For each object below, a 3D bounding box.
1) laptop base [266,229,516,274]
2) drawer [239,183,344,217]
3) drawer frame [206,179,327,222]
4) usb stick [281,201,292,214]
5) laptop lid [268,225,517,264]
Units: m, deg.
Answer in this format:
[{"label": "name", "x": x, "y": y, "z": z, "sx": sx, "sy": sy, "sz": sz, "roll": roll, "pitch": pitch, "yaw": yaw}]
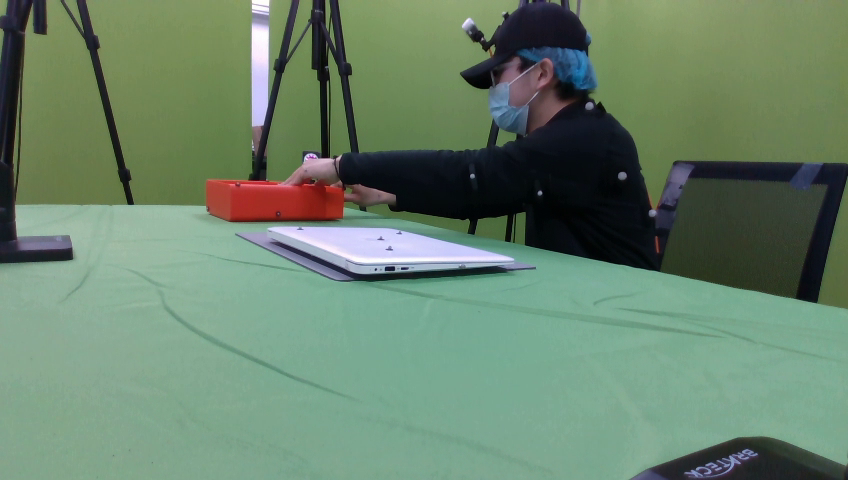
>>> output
[{"label": "laptop base", "x": -0.066, "y": 0.014, "z": 0.877, "sx": 0.237, "sy": 0.023, "sz": 0.352, "roll": 2, "pitch": 6, "yaw": -32}, {"label": "drawer", "x": -0.318, "y": -0.094, "z": 1.390, "sx": 0.213, "sy": 0.073, "sz": 0.193, "roll": -3, "pitch": 9, "yaw": -33}, {"label": "drawer frame", "x": -0.356, "y": -0.093, "z": 1.364, "sx": 0.215, "sy": 0.082, "sz": 0.200, "roll": -3, "pitch": 10, "yaw": -34}, {"label": "usb stick", "x": -0.317, "y": -0.075, "z": 1.390, "sx": 0.021, "sy": 0.027, "sz": 0.059, "roll": 2, "pitch": 7, "yaw": -16}, {"label": "laptop lid", "x": -0.063, "y": 0.002, "z": 0.877, "sx": 0.243, "sy": 0.013, "sz": 0.355, "roll": 1, "pitch": 7, "yaw": -30}]
